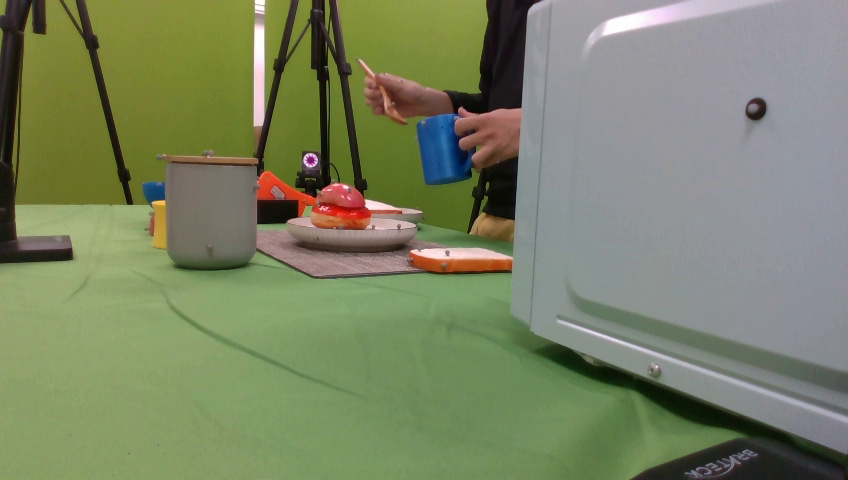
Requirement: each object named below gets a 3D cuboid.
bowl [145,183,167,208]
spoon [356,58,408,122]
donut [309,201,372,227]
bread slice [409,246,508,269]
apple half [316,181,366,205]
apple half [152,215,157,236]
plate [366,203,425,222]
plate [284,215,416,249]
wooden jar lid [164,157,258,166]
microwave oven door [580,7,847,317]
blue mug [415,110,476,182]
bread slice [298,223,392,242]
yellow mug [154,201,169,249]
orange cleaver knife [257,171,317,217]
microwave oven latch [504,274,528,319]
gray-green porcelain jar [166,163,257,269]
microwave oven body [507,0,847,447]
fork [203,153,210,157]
[{"bbox_3d":[-0.459,-0.068,1.175,0.151,0.077,0.151,2,7,0],"label":"bowl"},{"bbox_3d":[-0.081,-0.280,1.121,0.042,0.021,0.193,9,44,-48],"label":"spoon"},{"bbox_3d":[-0.132,-0.042,0.959,0.099,0.048,0.099,2,8,0],"label":"donut"},{"bbox_3d":[0.048,0.022,0.816,0.132,0.019,0.104,0,7,-24],"label":"bread slice"},{"bbox_3d":[-0.128,-0.076,0.954,0.081,0.033,0.081,6,12,-1],"label":"apple half"},{"bbox_3d":[-0.415,-0.034,1.017,0.081,0.053,0.074,1,10,-8],"label":"apple half"},{"bbox_3d":[-0.102,-0.053,1.299,0.209,0.038,0.209,2,8,0],"label":"plate"},{"bbox_3d":[-0.117,-0.014,0.967,0.208,0.039,0.207,2,7,0],"label":"plate"},{"bbox_3d":[-0.261,-0.093,0.746,0.108,0.020,0.108,0,9,0],"label":"wooden jar lid"},{"bbox_3d":[0.294,-0.067,0.570,0.358,0.243,0.039,-3,8,-31],"label":"microwave oven door"},{"bbox_3d":[0.044,-0.159,1.009,0.083,0.105,0.116,-8,-2,-40],"label":"blue mug"},{"bbox_3d":[-0.120,-0.013,0.970,0.106,0.018,0.135,8,10,41],"label":"bread slice"},{"bbox_3d":[-0.337,-0.022,0.899,0.130,0.064,0.100,8,9,34],"label":"yellow mug"},{"bbox_3d":[-0.283,-0.087,1.343,0.212,0.077,0.012,24,-16,-41],"label":"orange cleaver knife"},{"bbox_3d":[0.100,0.041,0.471,0.079,0.029,0.030,-1,7,-28],"label":"microwave oven latch"},{"bbox_3d":[-0.263,-0.031,0.754,0.106,0.126,0.106,2,7,0],"label":"gray-green porcelain jar"},{"bbox_3d":[0.331,-0.042,0.425,0.444,0.260,0.324,-2,8,-31],"label":"microwave oven body"},{"bbox_3d":[-0.480,-0.135,1.411,0.028,0.018,0.207,1,-34,0],"label":"fork"}]
